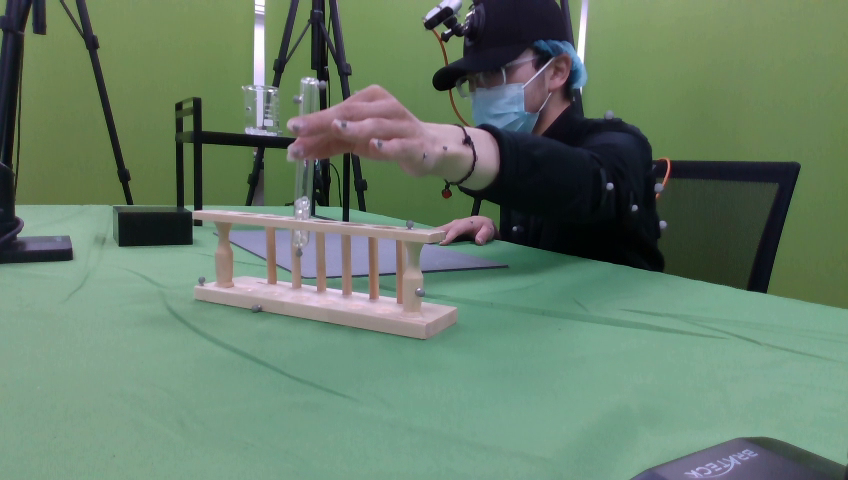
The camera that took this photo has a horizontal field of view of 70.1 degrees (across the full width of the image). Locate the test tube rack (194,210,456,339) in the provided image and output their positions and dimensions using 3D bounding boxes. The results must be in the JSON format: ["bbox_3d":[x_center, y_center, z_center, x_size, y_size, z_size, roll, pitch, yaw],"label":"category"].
[{"bbox_3d":[-0.093,0.023,0.545,0.241,0.085,0.067,6,8,25],"label":"test tube rack"}]

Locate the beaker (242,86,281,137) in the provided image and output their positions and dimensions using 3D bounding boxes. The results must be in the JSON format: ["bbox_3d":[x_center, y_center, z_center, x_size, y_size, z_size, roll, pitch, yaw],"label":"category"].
[{"bbox_3d":[-0.338,-0.265,1.252,0.073,0.100,0.084,8,9,38],"label":"beaker"}]

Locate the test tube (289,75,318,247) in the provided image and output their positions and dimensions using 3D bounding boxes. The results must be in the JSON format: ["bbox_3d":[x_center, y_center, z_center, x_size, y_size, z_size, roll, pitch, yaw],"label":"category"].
[{"bbox_3d":[-0.106,-0.069,0.531,0.017,0.150,0.017,4,2,0],"label":"test tube"}]
